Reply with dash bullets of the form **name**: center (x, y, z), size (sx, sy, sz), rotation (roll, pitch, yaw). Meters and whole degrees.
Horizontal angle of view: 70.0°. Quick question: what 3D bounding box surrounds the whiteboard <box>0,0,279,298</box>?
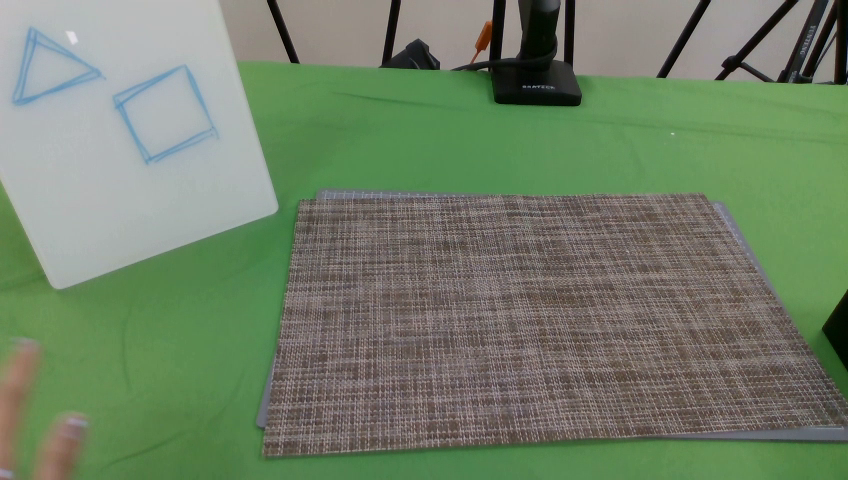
- **whiteboard**: center (-0.300, -0.141, 0.575), size (0.217, 0.307, 0.142), rotation (-23, 28, -26)
